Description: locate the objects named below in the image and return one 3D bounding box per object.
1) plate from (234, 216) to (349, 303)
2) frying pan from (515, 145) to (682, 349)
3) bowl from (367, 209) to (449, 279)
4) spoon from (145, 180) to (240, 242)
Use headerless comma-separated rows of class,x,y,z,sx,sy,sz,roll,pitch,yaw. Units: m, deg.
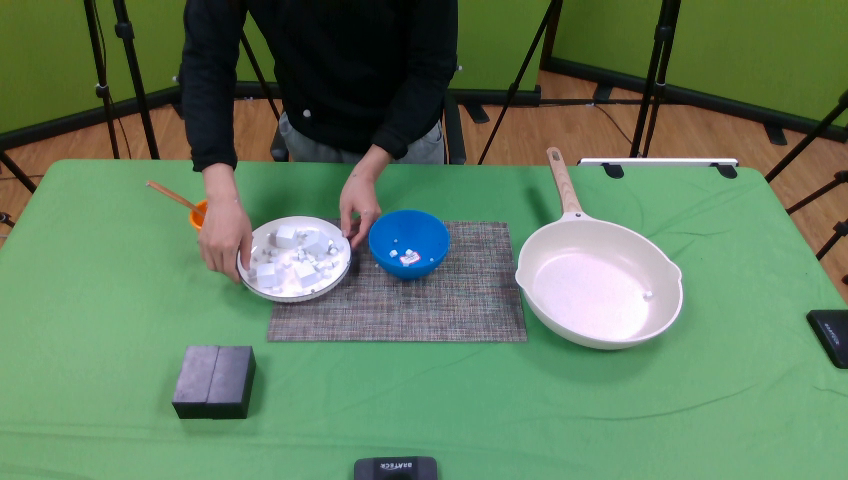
plate,-0.243,0.039,1.126,0.208,0.039,0.206,2,46,-2
frying pan,0.303,-0.004,1.168,0.307,0.103,0.484,-2,55,-7
bowl,-0.031,0.020,1.132,0.151,0.077,0.150,2,46,-2
spoon,-0.428,-0.055,1.130,0.021,0.195,0.041,-30,35,30
